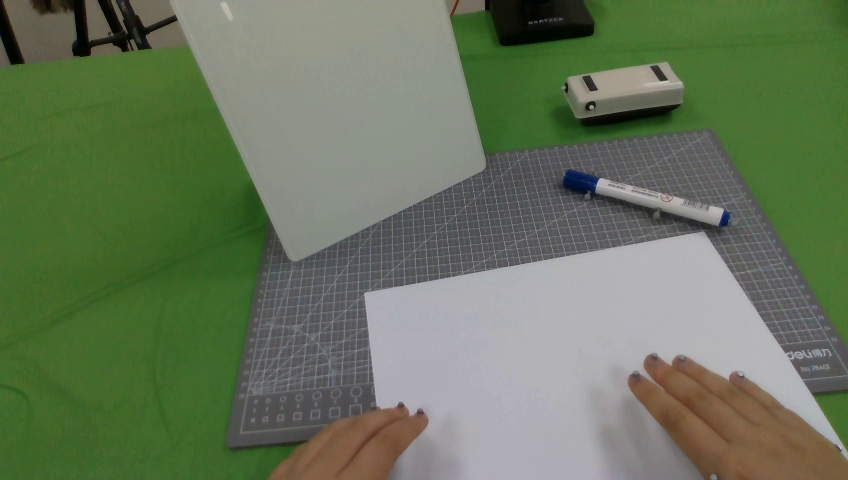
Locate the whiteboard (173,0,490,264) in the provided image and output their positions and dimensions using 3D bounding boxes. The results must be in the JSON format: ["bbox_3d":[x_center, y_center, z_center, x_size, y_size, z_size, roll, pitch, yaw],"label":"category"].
[{"bbox_3d":[-0.097,-0.175,0.556,0.217,0.308,0.142,-27,29,-17],"label":"whiteboard"}]

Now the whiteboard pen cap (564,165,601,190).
[{"bbox_3d":[0.150,-0.057,0.568,0.033,0.018,0.018,21,53,22],"label":"whiteboard pen cap"}]

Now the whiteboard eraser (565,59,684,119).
[{"bbox_3d":[0.211,-0.158,0.642,0.113,0.042,0.055,-8,49,-1],"label":"whiteboard eraser"}]

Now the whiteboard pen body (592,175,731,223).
[{"bbox_3d":[0.199,-0.040,0.542,0.140,0.017,0.017,19,52,24],"label":"whiteboard pen body"}]
